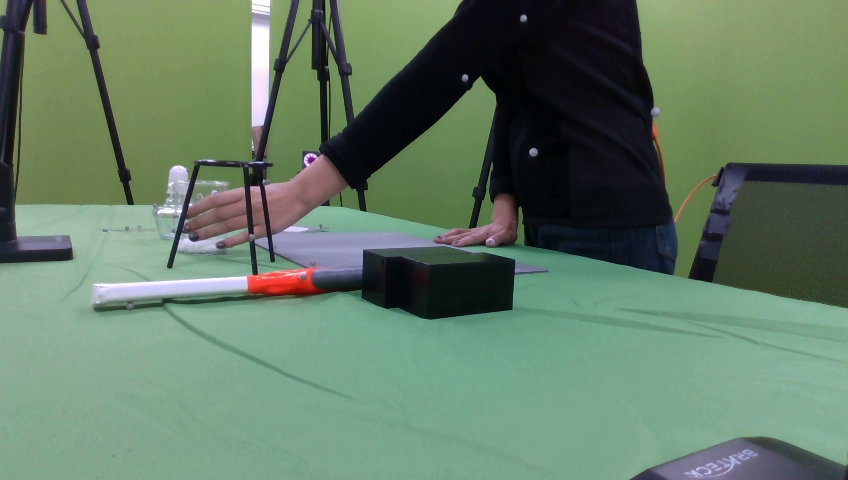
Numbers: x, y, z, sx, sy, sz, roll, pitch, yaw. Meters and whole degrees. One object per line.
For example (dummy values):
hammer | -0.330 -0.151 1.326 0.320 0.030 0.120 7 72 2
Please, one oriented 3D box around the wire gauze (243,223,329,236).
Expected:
wire gauze | -0.266 -0.024 1.156 0.124 0.011 0.122 11 12 40

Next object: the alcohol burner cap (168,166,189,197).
alcohol burner cap | -0.392 -0.095 0.970 0.034 0.048 0.034 7 7 -1

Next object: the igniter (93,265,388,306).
igniter | -0.164 0.042 0.589 0.278 0.025 0.057 -2 -6 -31

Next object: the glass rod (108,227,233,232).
glass rod | -0.437 -0.019 1.054 0.201 0.008 0.008 -1 8 -27

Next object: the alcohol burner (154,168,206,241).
alcohol burner | -0.393 -0.059 0.974 0.078 0.119 0.078 1 8 0

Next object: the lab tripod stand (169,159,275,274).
lab tripod stand | -0.230 -0.030 0.723 0.148 0.131 0.148 1 9 0

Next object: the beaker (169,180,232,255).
beaker | -0.313 -0.032 0.850 0.084 0.100 0.073 -5 10 -41
